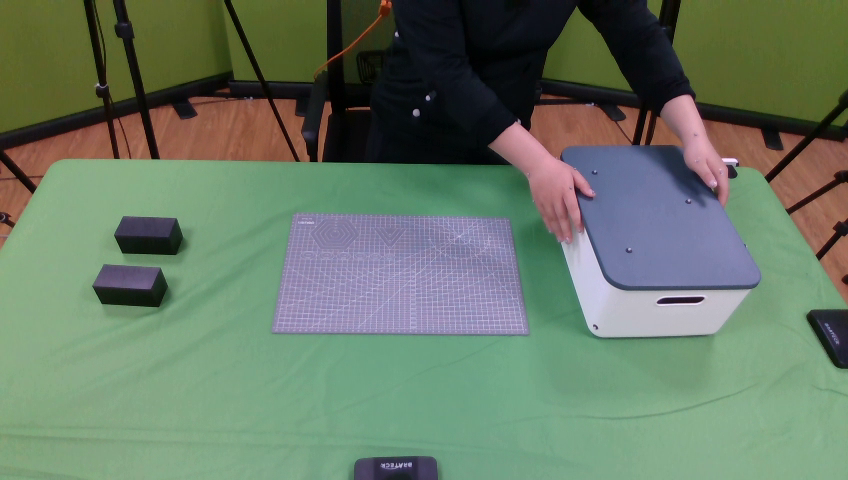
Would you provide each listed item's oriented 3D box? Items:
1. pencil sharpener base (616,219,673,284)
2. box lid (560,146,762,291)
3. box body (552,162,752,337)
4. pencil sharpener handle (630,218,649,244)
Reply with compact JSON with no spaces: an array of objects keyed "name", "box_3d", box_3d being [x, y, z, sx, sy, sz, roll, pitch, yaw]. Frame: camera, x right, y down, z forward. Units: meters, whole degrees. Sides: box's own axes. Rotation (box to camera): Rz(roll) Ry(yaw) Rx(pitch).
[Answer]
[{"name":"pencil sharpener base","box_3d":[0.412,0.021,1.140,0.061,0.107,0.076,-4,44,-6]},{"name":"box lid","box_3d":[0.404,-0.052,1.076,0.263,0.015,0.369,-1,45,-5]},{"name":"box body","box_3d":[0.401,-0.001,1.131,0.254,0.161,0.361,-1,46,-5]},{"name":"pencil sharpener handle","box_3d":[0.409,-0.024,1.167,0.036,0.068,0.030,-10,44,0]}]
